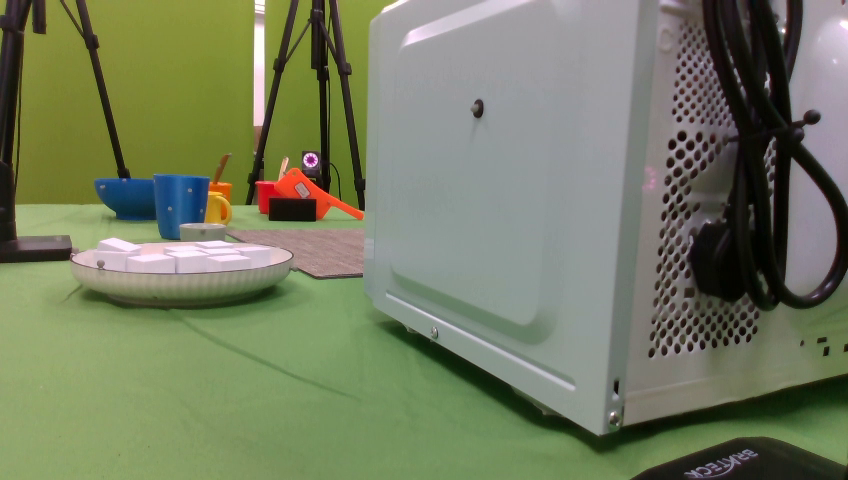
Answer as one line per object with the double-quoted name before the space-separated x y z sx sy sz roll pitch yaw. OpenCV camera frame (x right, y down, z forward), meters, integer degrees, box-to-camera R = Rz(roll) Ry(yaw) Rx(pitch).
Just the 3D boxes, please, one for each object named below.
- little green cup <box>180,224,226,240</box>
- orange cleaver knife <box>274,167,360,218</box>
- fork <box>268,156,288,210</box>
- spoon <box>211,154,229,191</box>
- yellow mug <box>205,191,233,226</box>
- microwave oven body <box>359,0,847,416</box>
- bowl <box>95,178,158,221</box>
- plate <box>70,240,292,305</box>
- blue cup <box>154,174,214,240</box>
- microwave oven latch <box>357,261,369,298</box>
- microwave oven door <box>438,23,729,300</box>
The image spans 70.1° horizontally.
"little green cup" -0.309 -0.001 0.846 0.061 0.038 0.061 2 8 0
"orange cleaver knife" -0.238 -0.091 1.381 0.212 0.077 0.012 31 0 -19
"fork" -0.360 -0.144 1.508 0.028 0.018 0.207 1 49 0
"spoon" -0.431 -0.115 1.253 0.042 0.193 0.021 -3 53 -33
"yellow mug" -0.415 -0.057 1.132 0.130 0.064 0.100 6 8 16
"microwave oven body" 0.211 -0.047 0.474 0.444 0.260 0.324 -1 7 -28
"bowl" -0.576 -0.081 1.217 0.151 0.077 0.151 3 8 0
"plate" -0.242 0.031 0.618 0.208 0.039 0.207 2 8 0
"blue cup" -0.391 -0.053 0.978 0.093 0.100 0.092 3 6 0
"microwave oven latch" -0.019 0.033 0.530 0.079 0.029 0.030 0 7 -25
"microwave oven door" 0.181 -0.072 0.620 0.358 0.243 0.039 -2 8 -29
